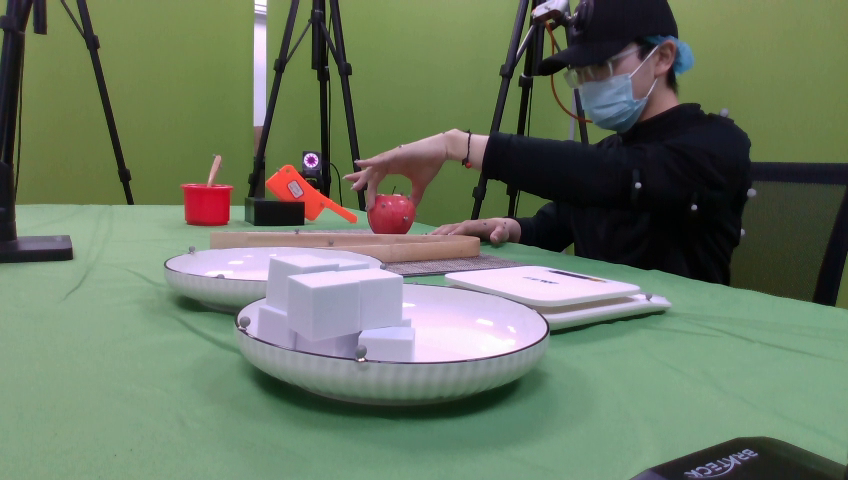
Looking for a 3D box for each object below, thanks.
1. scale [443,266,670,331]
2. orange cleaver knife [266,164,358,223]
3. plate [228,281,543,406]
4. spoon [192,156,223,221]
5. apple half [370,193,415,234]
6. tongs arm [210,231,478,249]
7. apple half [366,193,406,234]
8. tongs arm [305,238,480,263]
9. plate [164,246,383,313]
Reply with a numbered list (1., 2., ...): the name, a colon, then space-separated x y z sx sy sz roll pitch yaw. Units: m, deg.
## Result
1. scale: 0.131 0.052 0.602 0.202 0.031 0.148 -2 9 -37
2. orange cleaver knife: -0.237 -0.082 1.295 0.212 0.077 0.012 35 -9 -26
3. plate: -0.025 0.067 0.413 0.208 0.039 0.207 3 7 0
4. spoon: -0.430 -0.108 1.222 0.041 0.021 0.193 -1 52 0
5. apple half: -0.050 -0.039 0.993 0.081 0.081 0.032 1 6 -11
6. tongs arm: -0.106 0.005 0.876 0.386 0.026 0.050 1 6 -20
7. apple half: -0.059 -0.044 1.030 0.081 0.074 0.053 -3 6 -11
8. tongs arm: -0.070 0.017 0.800 0.390 0.028 0.028 -2 4 -34
9. plate: -0.145 0.038 0.600 0.209 0.038 0.209 2 7 0
